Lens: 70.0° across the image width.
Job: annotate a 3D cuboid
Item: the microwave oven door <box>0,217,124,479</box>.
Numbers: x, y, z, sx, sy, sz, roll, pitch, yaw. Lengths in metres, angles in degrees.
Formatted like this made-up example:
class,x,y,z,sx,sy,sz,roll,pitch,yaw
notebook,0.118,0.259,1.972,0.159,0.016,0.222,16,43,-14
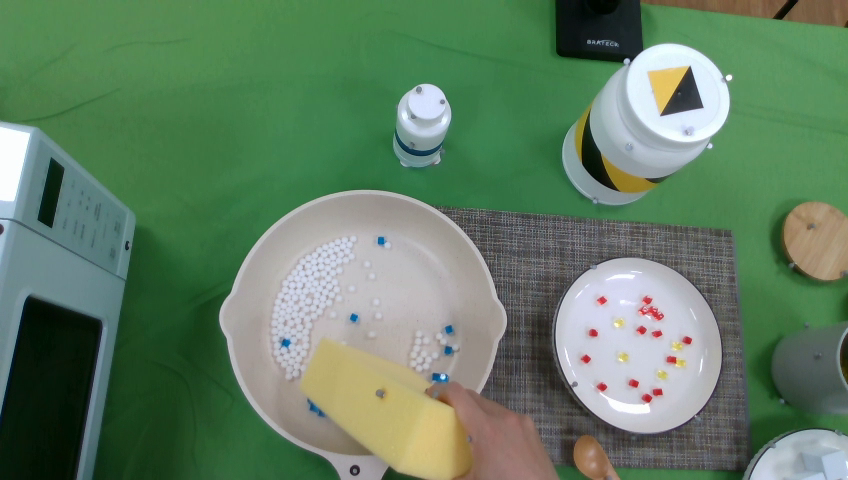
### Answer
class,x,y,z,sx,sy,sz,roll,pitch,yaw
microwave oven door,-0.345,0.180,0.518,0.039,0.244,0.354,4,76,-6

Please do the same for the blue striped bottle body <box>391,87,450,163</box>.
class,x,y,z,sx,sy,sz,roll,pitch,yaw
blue striped bottle body,-0.005,-0.142,0.720,0.063,0.121,0.063,2,76,-7

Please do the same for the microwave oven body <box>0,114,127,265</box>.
class,x,y,z,sx,sy,sz,roll,pitch,yaw
microwave oven body,-0.487,0.128,0.518,0.327,0.261,0.439,5,76,-6

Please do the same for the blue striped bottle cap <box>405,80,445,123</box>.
class,x,y,z,sx,sy,sz,roll,pitch,yaw
blue striped bottle cap,0.001,-0.154,0.671,0.044,0.021,0.044,2,73,-5

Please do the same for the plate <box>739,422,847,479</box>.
class,x,y,z,sx,sy,sz,roll,pitch,yaw
plate,0.461,0.320,0.712,0.208,0.039,0.206,2,76,-7

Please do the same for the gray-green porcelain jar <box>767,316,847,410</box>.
class,x,y,z,sx,sy,sz,roll,pitch,yaw
gray-green porcelain jar,0.481,0.145,0.710,0.106,0.127,0.105,2,76,-7

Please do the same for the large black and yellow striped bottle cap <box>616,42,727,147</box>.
class,x,y,z,sx,sy,sz,roll,pitch,yaw
large black and yellow striped bottle cap,0.260,-0.154,0.636,0.115,0.019,0.114,2,75,-6

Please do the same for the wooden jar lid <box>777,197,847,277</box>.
class,x,y,z,sx,sy,sz,roll,pitch,yaw
wooden jar lid,0.519,-0.003,0.806,0.108,0.021,0.108,2,78,-6

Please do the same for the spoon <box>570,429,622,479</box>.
class,x,y,z,sx,sy,sz,roll,pitch,yaw
spoon,0.237,0.293,0.695,0.193,0.022,0.041,45,59,3

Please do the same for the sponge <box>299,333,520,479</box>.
class,x,y,z,sx,sy,sz,roll,pitch,yaw
sponge,-0.023,0.161,0.587,0.119,0.205,0.061,29,80,-33

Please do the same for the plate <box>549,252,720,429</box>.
class,x,y,z,sx,sy,sz,roll,pitch,yaw
plate,0.249,0.118,0.729,0.209,0.038,0.208,2,77,-6

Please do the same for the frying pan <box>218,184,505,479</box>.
class,x,y,z,sx,sy,sz,roll,pitch,yaw
frying pan,-0.067,0.181,0.641,0.307,0.103,0.484,3,68,-4

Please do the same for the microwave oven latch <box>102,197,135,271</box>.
class,x,y,z,sx,sy,sz,roll,pitch,yaw
microwave oven latch,-0.342,-0.008,0.669,0.030,0.029,0.079,7,76,-6

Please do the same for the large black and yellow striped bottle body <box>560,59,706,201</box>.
class,x,y,z,sx,sy,sz,roll,pitch,yaw
large black and yellow striped bottle body,0.251,-0.133,0.719,0.131,0.184,0.130,2,75,-6
